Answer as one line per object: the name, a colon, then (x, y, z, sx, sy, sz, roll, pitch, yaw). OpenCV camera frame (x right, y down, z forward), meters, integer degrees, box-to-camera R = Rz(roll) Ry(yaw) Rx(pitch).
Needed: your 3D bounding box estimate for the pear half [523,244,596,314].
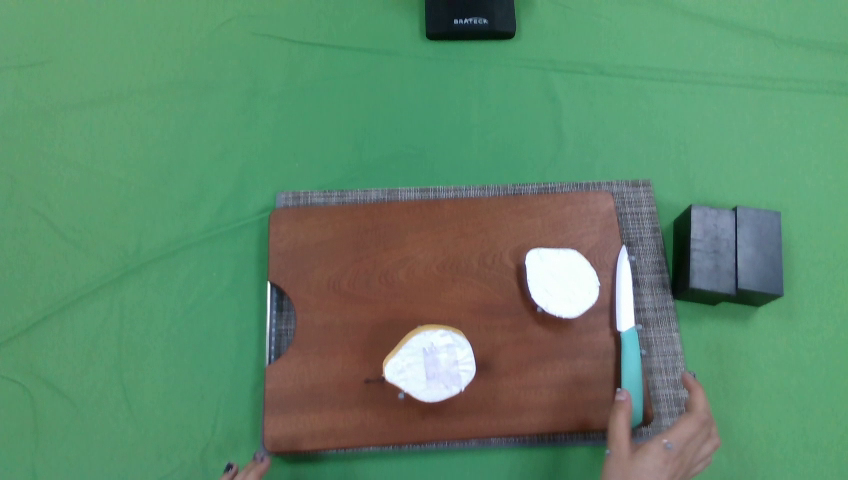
pear half: (0.145, 0.041, 0.657, 0.070, 0.031, 0.087, -44, 64, 1)

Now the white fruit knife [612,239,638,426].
white fruit knife: (0.215, 0.094, 0.650, 0.027, 0.016, 0.206, 11, 68, -13)

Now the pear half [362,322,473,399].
pear half: (-0.010, 0.123, 0.613, 0.110, 0.056, 0.076, -10, 90, -7)
